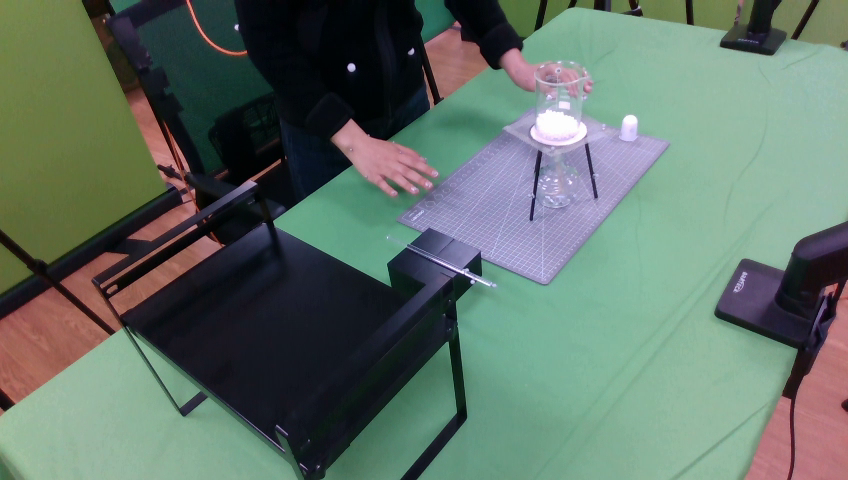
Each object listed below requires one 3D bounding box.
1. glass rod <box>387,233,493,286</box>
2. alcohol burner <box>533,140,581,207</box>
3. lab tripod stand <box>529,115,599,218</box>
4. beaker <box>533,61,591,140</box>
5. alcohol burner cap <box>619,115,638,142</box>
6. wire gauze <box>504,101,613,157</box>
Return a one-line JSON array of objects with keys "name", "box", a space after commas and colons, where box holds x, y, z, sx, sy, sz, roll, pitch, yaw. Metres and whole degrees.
[{"name": "glass rod", "box": [0.018, 0.027, 0.878, 0.198, 0.008, 0.008, 25, 50, 33]}, {"name": "alcohol burner", "box": [0.220, -0.114, 0.999, 0.078, 0.119, 0.077, -5, 42, 5]}, {"name": "lab tripod stand", "box": [0.218, -0.123, 0.996, 0.148, 0.132, 0.147, -4, 43, 4]}, {"name": "beaker", "box": [0.208, -0.210, 0.922, 0.083, 0.101, 0.074, 5, 44, 14]}, {"name": "alcohol burner cap", "box": [0.389, -0.214, 1.145, 0.034, 0.048, 0.033, -3, 40, 3]}, {"name": "wire gauze", "box": [0.211, -0.175, 0.956, 0.125, 0.011, 0.120, -26, 43, -17]}]
